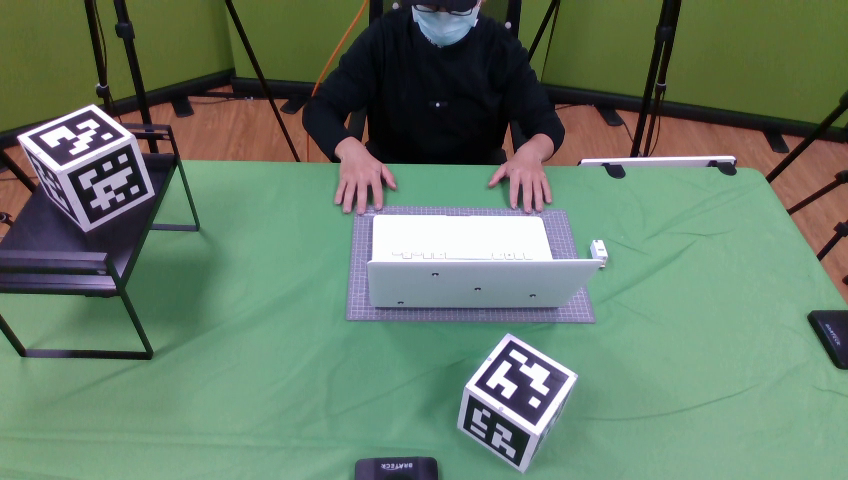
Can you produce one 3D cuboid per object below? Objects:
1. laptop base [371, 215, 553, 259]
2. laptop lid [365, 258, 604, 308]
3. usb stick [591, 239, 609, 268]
[{"bbox_3d":[0.075,0.037,1.167,0.355,0.023,0.234,0,43,-4],"label":"laptop base"},{"bbox_3d":[0.085,0.074,0.978,0.357,0.242,0.013,1,67,-5],"label":"laptop lid"},{"bbox_3d":[0.347,0.028,1.188,0.021,0.027,0.059,4,48,-5],"label":"usb stick"}]
